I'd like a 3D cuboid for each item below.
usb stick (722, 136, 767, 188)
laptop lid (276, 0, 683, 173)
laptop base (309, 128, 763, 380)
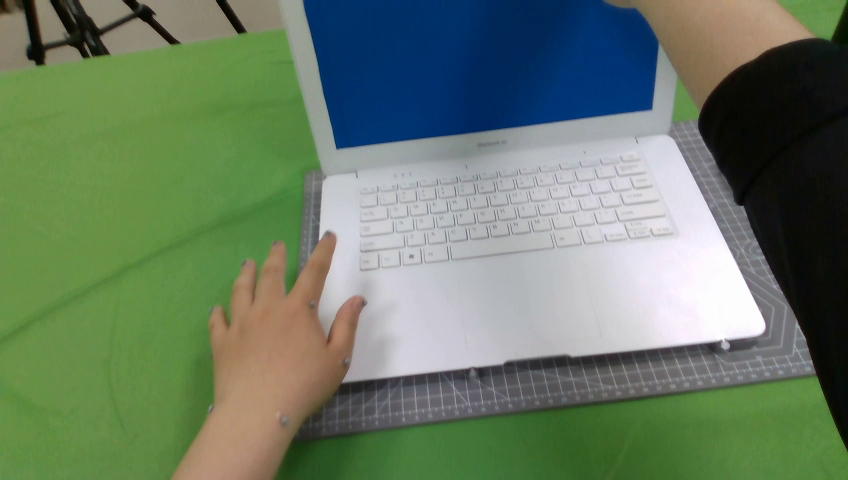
[{"bbox_3d":[0.299,-0.078,0.571,0.021,0.027,0.058,-7,50,4],"label":"usb stick"},{"bbox_3d":[0.055,-0.180,0.546,0.357,0.244,0.013,-8,36,2],"label":"laptop lid"},{"bbox_3d":[0.078,0.002,0.540,0.354,0.023,0.233,-7,52,1],"label":"laptop base"}]
